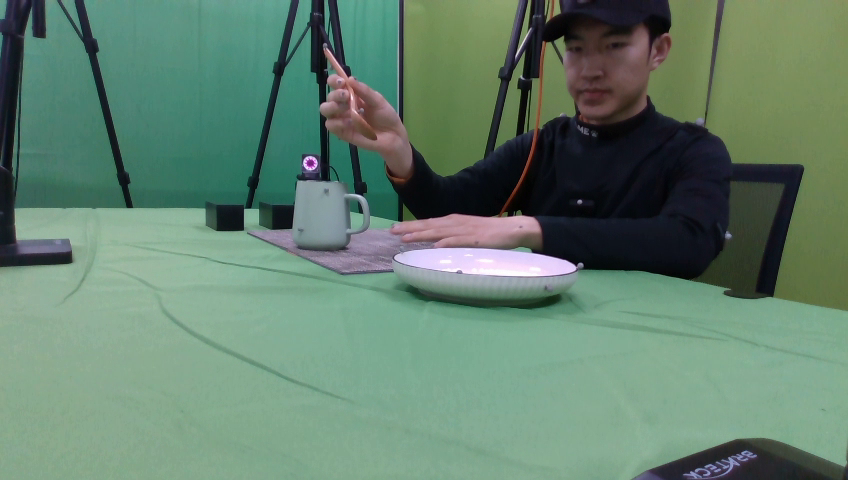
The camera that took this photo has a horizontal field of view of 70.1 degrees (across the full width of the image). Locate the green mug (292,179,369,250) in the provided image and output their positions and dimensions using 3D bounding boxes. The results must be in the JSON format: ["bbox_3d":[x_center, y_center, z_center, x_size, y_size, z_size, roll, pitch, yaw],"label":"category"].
[{"bbox_3d":[-0.144,-0.040,0.944,0.125,0.105,0.093,4,7,16],"label":"green mug"}]

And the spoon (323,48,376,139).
[{"bbox_3d":[-0.104,-0.203,0.823,0.021,0.193,0.042,-25,-34,2],"label":"spoon"}]

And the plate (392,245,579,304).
[{"bbox_3d":[0.066,0.038,0.683,0.209,0.038,0.209,2,7,0],"label":"plate"}]
